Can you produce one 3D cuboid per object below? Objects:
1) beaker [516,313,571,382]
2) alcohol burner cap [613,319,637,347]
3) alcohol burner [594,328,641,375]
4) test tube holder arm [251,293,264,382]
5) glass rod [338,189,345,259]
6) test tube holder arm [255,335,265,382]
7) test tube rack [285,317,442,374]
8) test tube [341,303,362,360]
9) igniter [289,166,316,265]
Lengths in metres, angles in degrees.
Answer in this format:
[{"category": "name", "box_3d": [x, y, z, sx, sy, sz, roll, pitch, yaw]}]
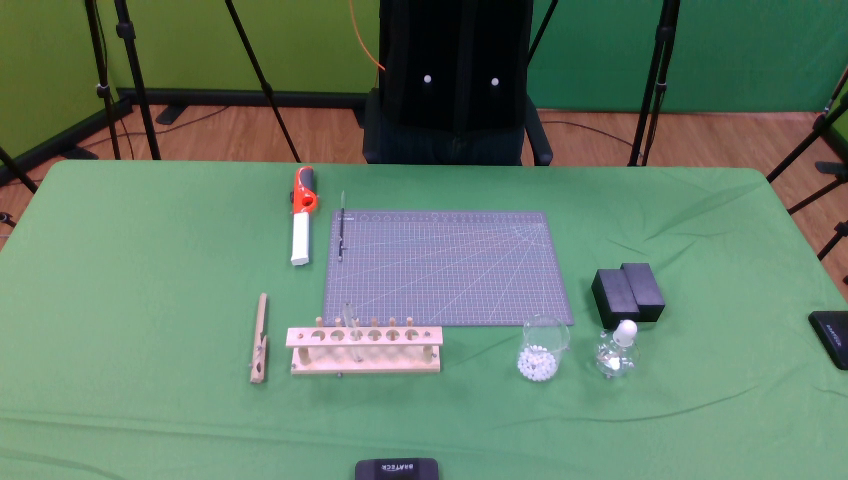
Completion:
[{"category": "beaker", "box_3d": [0.190, 0.180, 0.985, 0.073, 0.101, 0.084, 30, 52, 24]}, {"category": "alcohol burner cap", "box_3d": [0.323, 0.146, 0.966, 0.034, 0.048, 0.033, -1, 52, 2]}, {"category": "alcohol burner", "box_3d": [0.322, 0.170, 0.994, 0.078, 0.119, 0.077, 3, 48, -3]}, {"category": "test tube holder arm", "box_3d": [-0.281, 0.160, 1.025, 0.013, 0.015, 0.177, 23, 36, -32]}, {"category": "glass rod", "box_3d": [-0.166, -0.037, 1.227, 0.008, 0.008, 0.198, -1, 47, -4]}, {"category": "test tube holder arm", "box_3d": [-0.269, 0.193, 0.997, 0.010, 0.015, 0.087, 23, 36, -32]}, {"category": "test tube rack", "box_3d": [-0.095, 0.166, 0.988, 0.242, 0.085, 0.066, 0, 46, -4]}, {"category": "test tube", "box_3d": [-0.111, 0.145, 0.938, 0.017, 0.151, 0.017, -1, 50, 2]}, {"category": "igniter", "box_3d": [-0.248, -0.058, 1.233, 0.057, 0.025, 0.274, -9, 47, 1]}]
